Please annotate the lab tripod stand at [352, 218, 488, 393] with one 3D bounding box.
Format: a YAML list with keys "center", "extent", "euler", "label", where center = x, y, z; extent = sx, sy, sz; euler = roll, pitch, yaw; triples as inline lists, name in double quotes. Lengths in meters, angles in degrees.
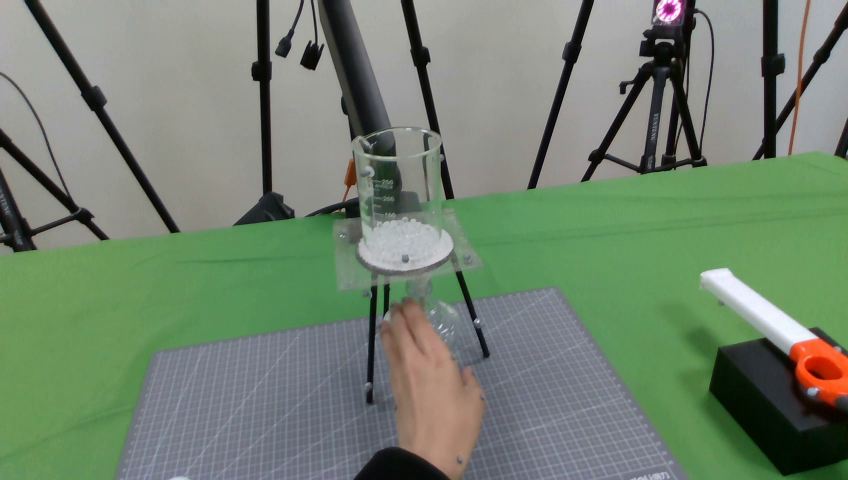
- center: [-0.012, 0.055, 0.579]
  extent: [0.148, 0.132, 0.147]
  euler: [-1, 29, 1]
  label: "lab tripod stand"

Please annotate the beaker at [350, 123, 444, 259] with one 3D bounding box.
- center: [-0.023, -0.042, 0.518]
  extent: [0.074, 0.101, 0.083]
  euler: [-28, 38, -37]
  label: "beaker"

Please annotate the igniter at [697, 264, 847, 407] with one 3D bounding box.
- center: [0.320, 0.092, 0.499]
  extent: [0.057, 0.025, 0.274]
  euler: [-10, 27, -8]
  label: "igniter"

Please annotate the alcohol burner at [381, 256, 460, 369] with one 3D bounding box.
- center: [-0.004, 0.065, 0.581]
  extent: [0.078, 0.120, 0.077]
  euler: [-1, 32, 1]
  label: "alcohol burner"

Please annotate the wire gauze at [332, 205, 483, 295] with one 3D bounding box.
- center: [-0.020, 0.001, 0.542]
  extent: [0.121, 0.011, 0.124]
  euler: [-8, 33, -7]
  label: "wire gauze"

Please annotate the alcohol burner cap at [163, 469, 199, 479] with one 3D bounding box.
- center: [-0.179, 0.192, 0.453]
  extent: [0.034, 0.048, 0.033]
  euler: [-2, 31, 2]
  label: "alcohol burner cap"
